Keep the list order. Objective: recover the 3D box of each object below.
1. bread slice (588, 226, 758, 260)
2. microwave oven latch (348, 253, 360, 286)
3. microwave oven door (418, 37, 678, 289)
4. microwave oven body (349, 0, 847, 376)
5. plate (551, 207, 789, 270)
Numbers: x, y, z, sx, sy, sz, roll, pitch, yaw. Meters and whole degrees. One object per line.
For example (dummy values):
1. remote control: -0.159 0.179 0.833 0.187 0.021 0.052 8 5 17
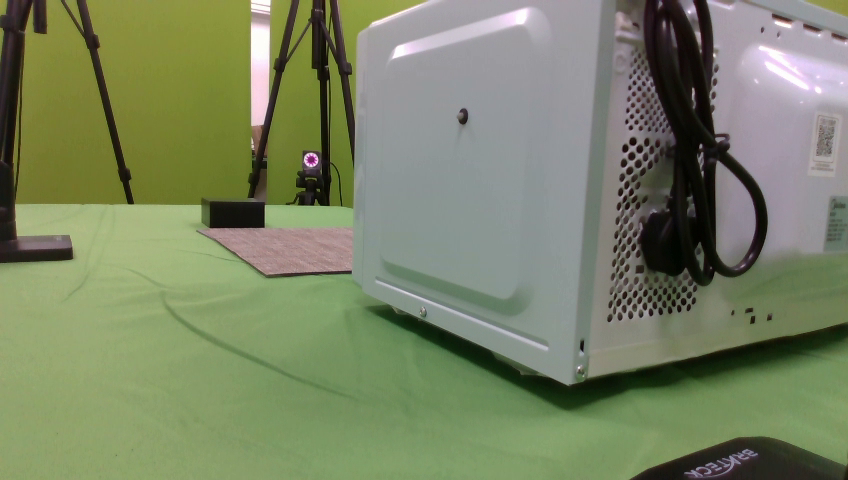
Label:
1. bread slice: 0.226 0.001 0.569 0.132 0.019 0.104 4 5 -23
2. microwave oven latch: -0.034 0.028 0.581 0.079 0.029 0.030 -1 7 -32
3. microwave oven door: 0.159 -0.079 0.684 0.358 0.243 0.039 -2 9 -32
4. microwave oven body: 0.199 -0.053 0.540 0.444 0.260 0.324 -1 8 -32
5. plate: 0.224 -0.004 0.572 0.209 0.038 0.209 3 8 0
